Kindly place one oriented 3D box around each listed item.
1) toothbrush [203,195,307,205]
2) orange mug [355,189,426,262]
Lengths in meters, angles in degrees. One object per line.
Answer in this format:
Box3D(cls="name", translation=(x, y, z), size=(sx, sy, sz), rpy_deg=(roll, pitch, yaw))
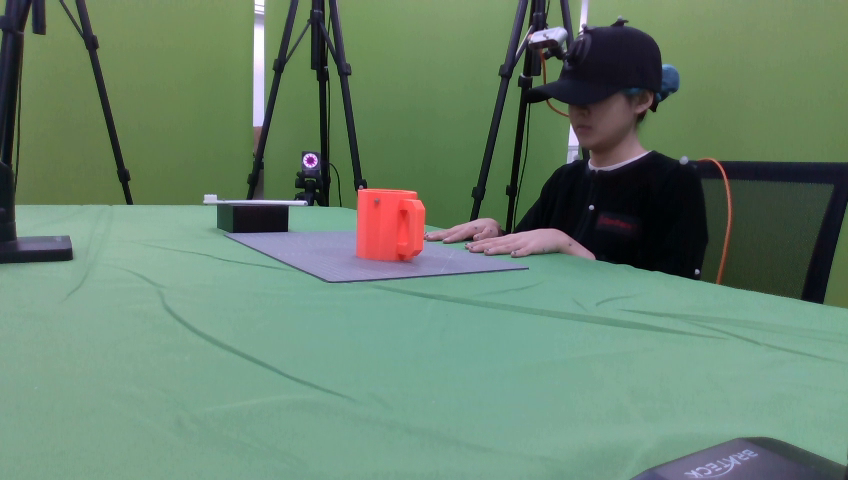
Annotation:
Box3D(cls="toothbrush", translation=(-0.306, -0.072, 1.105), size=(0.183, 0.016, 0.014), rpy_deg=(1, 4, -22))
Box3D(cls="orange mug", translation=(-0.043, -0.022, 0.854), size=(0.084, 0.100, 0.125), rpy_deg=(-3, 5, -40))
